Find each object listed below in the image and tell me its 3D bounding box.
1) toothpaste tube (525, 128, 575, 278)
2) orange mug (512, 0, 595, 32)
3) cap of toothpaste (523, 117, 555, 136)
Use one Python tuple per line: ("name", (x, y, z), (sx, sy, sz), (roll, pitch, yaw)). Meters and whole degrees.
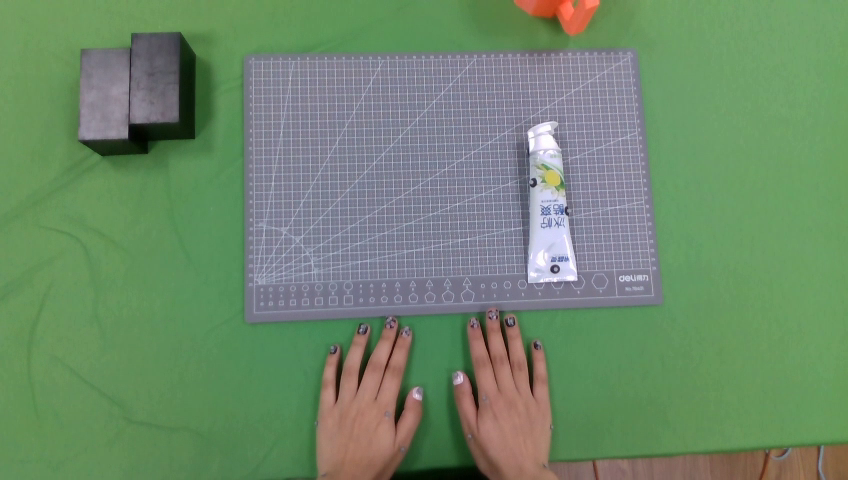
("toothpaste tube", (0.131, -0.042, 0.662), (0.055, 0.034, 0.164), (-4, 85, 3))
("orange mug", (0.147, -0.300, 0.669), (0.083, 0.101, 0.125), (-24, 79, -6))
("cap of toothpaste", (0.127, -0.124, 0.668), (0.037, 0.037, 0.011), (-15, 79, -6))
